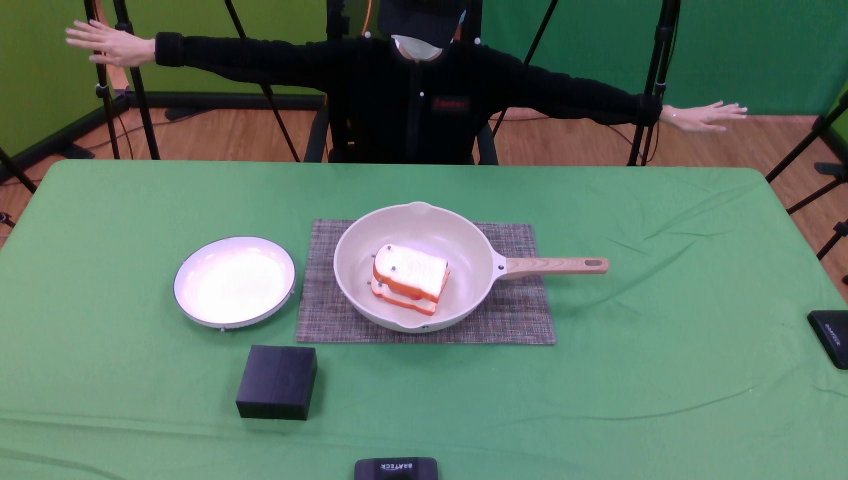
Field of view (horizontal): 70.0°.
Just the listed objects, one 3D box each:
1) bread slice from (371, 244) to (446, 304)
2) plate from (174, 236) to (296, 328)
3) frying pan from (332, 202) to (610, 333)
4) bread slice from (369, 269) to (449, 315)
[{"bbox_3d":[-0.028,0.054,1.072,0.131,0.019,0.104,19,40,-3],"label":"bread slice"},{"bbox_3d":[-0.335,0.077,1.087,0.208,0.039,0.206,2,46,-2],"label":"plate"},{"bbox_3d":[0.085,0.052,1.093,0.488,0.103,0.305,-1,46,6],"label":"frying pan"},{"bbox_3d":[-0.031,0.082,1.107,0.134,0.018,0.106,12,45,8],"label":"bread slice"}]
